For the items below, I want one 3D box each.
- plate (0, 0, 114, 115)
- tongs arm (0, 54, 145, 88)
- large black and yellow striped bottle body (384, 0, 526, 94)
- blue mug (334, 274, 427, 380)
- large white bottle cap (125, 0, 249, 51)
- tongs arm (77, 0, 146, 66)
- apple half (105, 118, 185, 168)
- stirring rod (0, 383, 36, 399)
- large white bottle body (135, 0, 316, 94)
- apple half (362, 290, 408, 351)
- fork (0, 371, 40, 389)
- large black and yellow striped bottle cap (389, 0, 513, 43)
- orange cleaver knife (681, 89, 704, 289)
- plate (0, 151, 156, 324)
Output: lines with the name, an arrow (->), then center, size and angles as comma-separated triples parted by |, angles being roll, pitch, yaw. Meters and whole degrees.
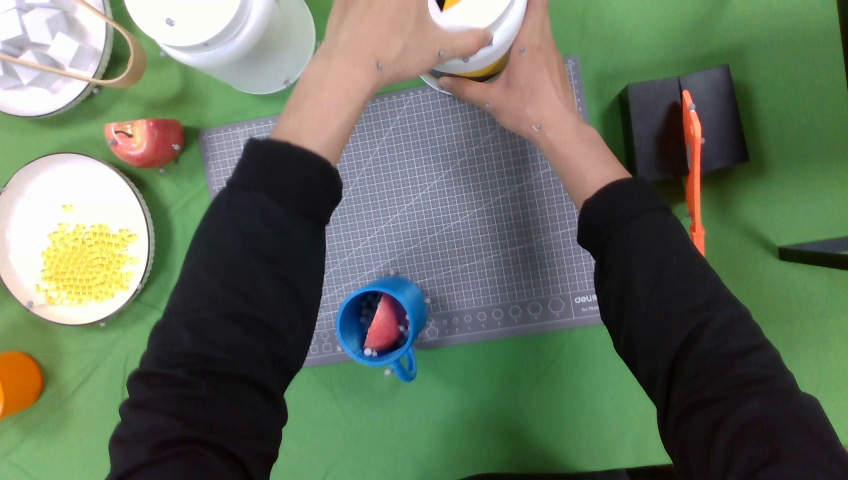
plate -> -0.464, -0.253, 0.725 | 0.207, 0.039, 0.207 | 0, 94, 7
tongs arm -> -0.504, -0.237, 0.698 | 0.384, 0.026, 0.051 | 20, 93, 7
large black and yellow striped bottle body -> 0.034, -0.226, 0.594 | 0.130, 0.184, 0.130 | 0, 91, 8
blue mug -> -0.037, 0.097, 0.662 | 0.082, 0.106, 0.116 | -25, 91, 8
large white bottle cap -> -0.211, -0.228, 0.538 | 0.114, 0.018, 0.115 | 0, 94, 7
tongs arm -> -0.470, -0.313, 0.691 | 0.387, 0.028, 0.028 | 34, 91, 6
apple half -> -0.318, -0.110, 0.700 | 0.081, 0.074, 0.053 | -5, 97, 3
stirring rod -> -0.561, 0.190, 0.712 | 0.177, 0.006, 0.014 | -3, 82, -33
large white bottle body -> -0.199, -0.232, 0.622 | 0.130, 0.184, 0.130 | 0, 93, 7
apple half -> -0.034, 0.088, 0.656 | 0.032, 0.081, 0.081 | 22, 96, 13
fork -> -0.573, 0.172, 0.709 | 0.209, 0.018, 0.028 | 5, 94, -37
large black and yellow striped bottle cap -> 0.023, -0.226, 0.511 | 0.115, 0.019, 0.115 | 0, 93, 6
orange cleaver knife -> 0.278, -0.048, 0.630 | 0.012, 0.076, 0.213 | -7, 119, 16
plate -> -0.420, -0.003, 0.736 | 0.209, 0.038, 0.209 | 0, 94, 7
